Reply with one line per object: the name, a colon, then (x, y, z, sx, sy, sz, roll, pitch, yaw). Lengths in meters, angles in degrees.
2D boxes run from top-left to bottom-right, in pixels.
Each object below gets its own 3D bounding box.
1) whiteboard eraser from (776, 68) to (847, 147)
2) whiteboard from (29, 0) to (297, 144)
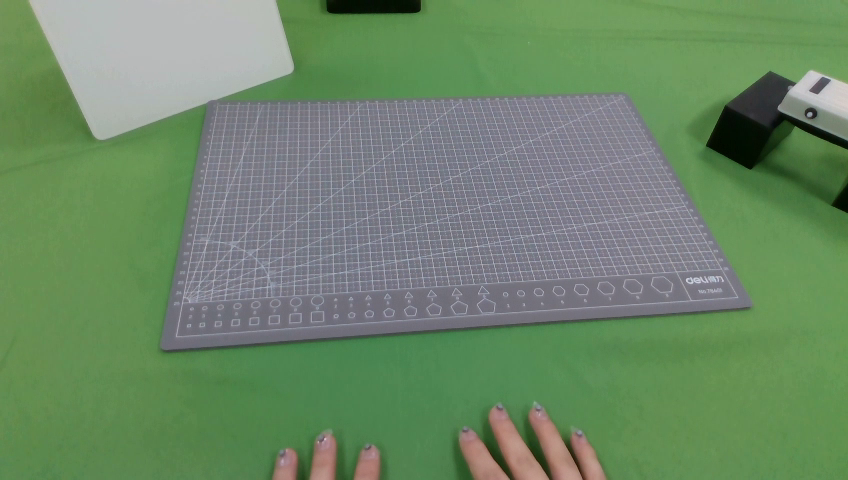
whiteboard eraser: (0.387, -0.113, 0.552, 0.111, 0.042, 0.055, 35, 56, 28)
whiteboard: (-0.288, -0.288, 0.585, 0.217, 0.308, 0.142, -30, 37, -27)
